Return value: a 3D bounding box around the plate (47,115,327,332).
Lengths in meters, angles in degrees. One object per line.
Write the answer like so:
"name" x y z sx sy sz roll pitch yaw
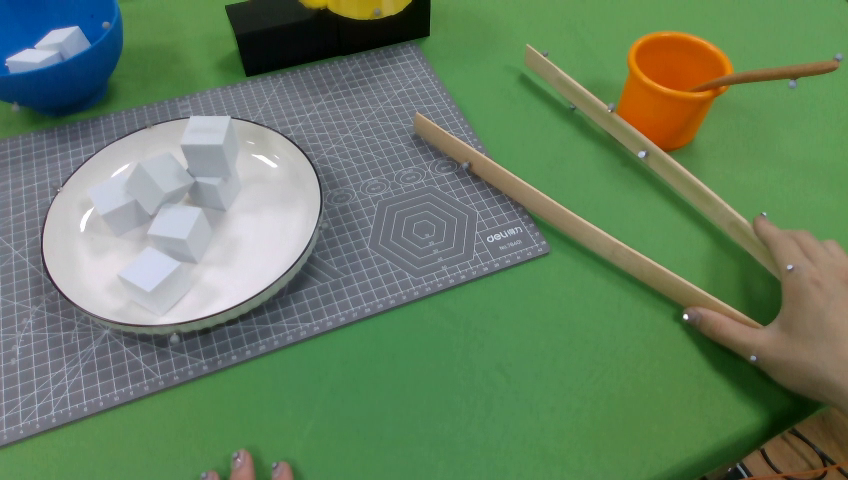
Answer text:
"plate" -0.180 -0.016 0.482 0.208 0.039 0.205 1 54 -1

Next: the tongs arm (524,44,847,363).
"tongs arm" 0.202 -0.053 0.527 0.051 0.027 0.381 -32 63 -22

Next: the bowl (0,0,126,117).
"bowl" -0.348 -0.169 0.567 0.151 0.077 0.150 1 54 0

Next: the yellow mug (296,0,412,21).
"yellow mug" -0.072 -0.266 0.590 0.131 0.064 0.099 -33 61 -21

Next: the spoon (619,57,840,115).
"spoon" 0.245 -0.130 0.513 0.041 0.192 0.022 -39 108 -22

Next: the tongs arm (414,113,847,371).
"tongs arm" 0.142 -0.008 0.497 0.385 0.028 0.028 34 58 20
